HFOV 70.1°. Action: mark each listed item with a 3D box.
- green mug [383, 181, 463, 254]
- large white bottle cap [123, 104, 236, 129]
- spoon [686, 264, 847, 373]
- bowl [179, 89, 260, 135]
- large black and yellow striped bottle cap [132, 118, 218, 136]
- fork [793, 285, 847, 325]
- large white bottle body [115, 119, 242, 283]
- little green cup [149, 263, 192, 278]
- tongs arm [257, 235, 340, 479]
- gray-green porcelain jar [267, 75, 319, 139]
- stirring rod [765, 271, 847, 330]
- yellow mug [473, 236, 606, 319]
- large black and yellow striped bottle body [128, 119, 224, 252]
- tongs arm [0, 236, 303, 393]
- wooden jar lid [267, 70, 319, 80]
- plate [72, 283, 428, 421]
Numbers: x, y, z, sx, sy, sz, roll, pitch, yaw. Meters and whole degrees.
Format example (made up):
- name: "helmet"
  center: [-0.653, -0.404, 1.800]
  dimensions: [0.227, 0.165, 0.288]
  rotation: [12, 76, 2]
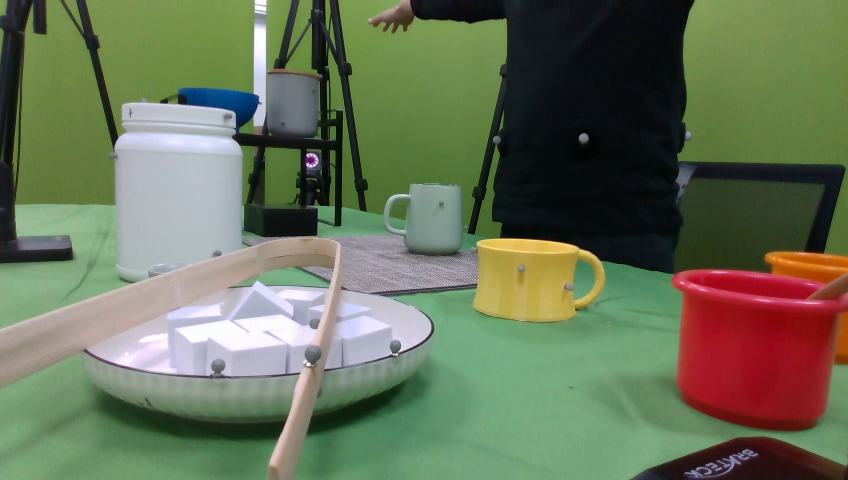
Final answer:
- name: "green mug"
  center: [-0.001, -0.036, 0.922]
  dimensions: [0.126, 0.105, 0.092]
  rotation: [0, 8, -16]
- name: "large white bottle cap"
  center: [-0.266, -0.134, 0.663]
  dimensions: [0.115, 0.018, 0.115]
  rotation: [3, 7, 0]
- name: "spoon"
  center: [0.214, 0.032, 0.328]
  dimensions: [0.042, 0.021, 0.193]
  rotation: [-3, -35, -26]
- name: "bowl"
  center: [-0.400, -0.248, 1.188]
  dimensions: [0.151, 0.077, 0.151]
  rotation: [2, 6, 0]
- name: "large black and yellow striped bottle cap"
  center: [-0.359, -0.164, 0.875]
  dimensions: [0.115, 0.019, 0.115]
  rotation: [2, 6, 0]
- name: "fork"
  center: [0.332, 0.019, 0.443]
  dimensions: [0.028, 0.018, 0.207]
  rotation: [-3, -35, -16]
- name: "large white bottle body"
  center: [-0.270, -0.051, 0.674]
  dimensions: [0.131, 0.184, 0.130]
  rotation: [2, 8, 0]
- name: "little green cup"
  center: [-0.207, 0.043, 0.531]
  dimensions: [0.061, 0.038, 0.061]
  rotation: [3, 6, 0]
- name: "tongs arm"
  center: [-0.074, 0.039, 0.349]
  dimensions: [0.051, 0.026, 0.384]
  rotation: [-2, 10, -2]
- name: "gray-green porcelain jar"
  center: [-0.277, -0.279, 1.280]
  dimensions: [0.106, 0.126, 0.106]
  rotation: [2, 8, 0]
- name: "stirring rod"
  center: [0.352, 0.020, 0.481]
  dimensions: [0.176, 0.006, 0.014]
  rotation: [-40, -8, 17]
- name: "yellow mug"
  center: [0.114, 0.034, 0.590]
  dimensions: [0.131, 0.064, 0.100]
  rotation: [2, 6, -7]
- name: "large black and yellow striped bottle body"
  center: [-0.361, -0.081, 0.887]
  dimensions: [0.131, 0.184, 0.130]
  rotation: [2, 8, 0]
- name: "tongs arm"
  center: [-0.158, 0.038, 0.351]
  dimensions: [0.028, 0.028, 0.388]
  rotation: [-3, 8, 12]
- name: "wooden jar lid"
  center: [-0.275, -0.339, 1.271]
  dimensions: [0.108, 0.020, 0.108]
  rotation: [5, 6, 0]
- name: "plate"
  center: [-0.102, 0.066, 0.381]
  dimensions: [0.208, 0.039, 0.207]
  rotation: [2, 7, 0]
